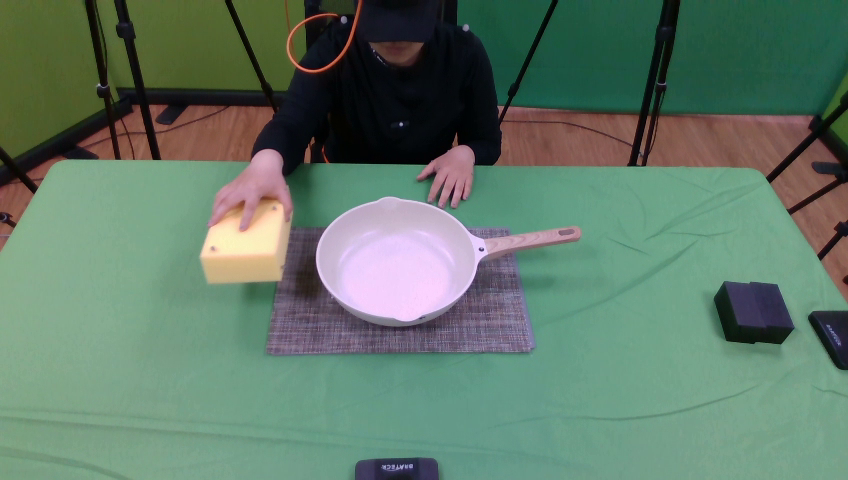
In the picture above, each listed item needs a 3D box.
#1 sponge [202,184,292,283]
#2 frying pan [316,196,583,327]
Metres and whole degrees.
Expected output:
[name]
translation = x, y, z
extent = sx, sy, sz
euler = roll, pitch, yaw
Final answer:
[sponge]
translation = -0.301, -0.016, 1.053
extent = 0.118, 0.061, 0.205
euler = -3, 38, -4
[frying pan]
translation = 0.054, 0.027, 1.114
extent = 0.488, 0.103, 0.304
euler = -9, 48, -1
